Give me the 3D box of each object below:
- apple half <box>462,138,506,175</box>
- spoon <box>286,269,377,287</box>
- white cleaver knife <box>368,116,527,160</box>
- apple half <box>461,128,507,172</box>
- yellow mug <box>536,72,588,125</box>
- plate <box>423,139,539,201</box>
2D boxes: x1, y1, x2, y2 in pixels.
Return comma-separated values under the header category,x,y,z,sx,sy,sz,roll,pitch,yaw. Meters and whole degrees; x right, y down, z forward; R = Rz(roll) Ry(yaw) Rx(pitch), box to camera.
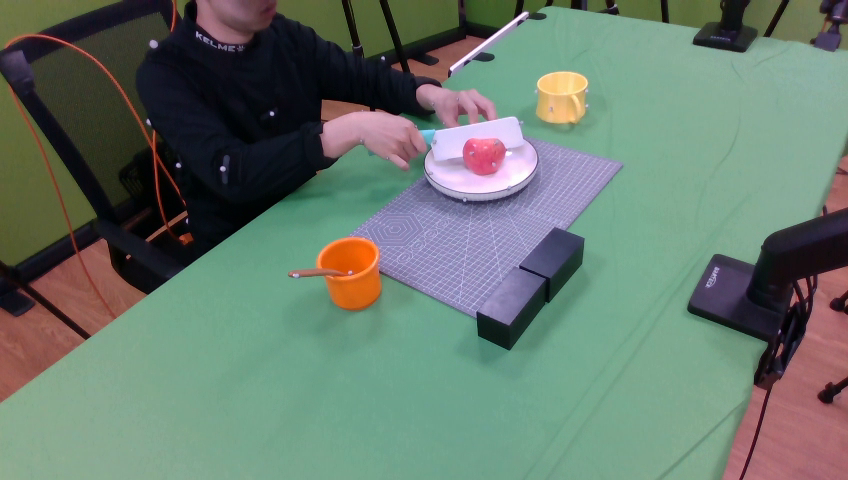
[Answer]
category,x,y,z,sx,sy,sz,roll,pitch,yaw
apple half,0.105,-0.141,1.062,0.081,0.081,0.032,-1,40,8
spoon,-0.125,0.049,0.831,0.041,0.195,0.021,22,92,28
white cleaver knife,0.035,-0.170,1.067,0.285,0.066,0.021,-5,33,16
apple half,0.109,-0.167,1.092,0.080,0.075,0.053,-4,37,11
yellow mug,0.285,-0.281,1.222,0.100,0.064,0.130,-16,42,-9
plate,0.102,-0.132,1.092,0.209,0.038,0.208,-4,40,4
